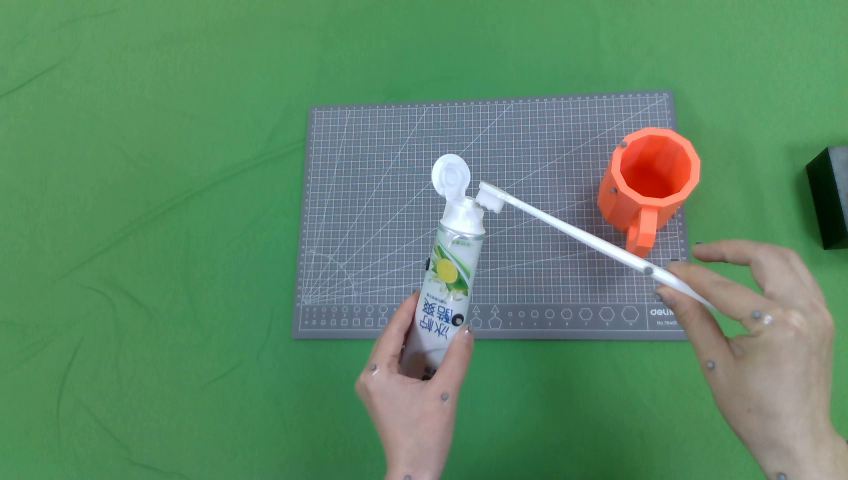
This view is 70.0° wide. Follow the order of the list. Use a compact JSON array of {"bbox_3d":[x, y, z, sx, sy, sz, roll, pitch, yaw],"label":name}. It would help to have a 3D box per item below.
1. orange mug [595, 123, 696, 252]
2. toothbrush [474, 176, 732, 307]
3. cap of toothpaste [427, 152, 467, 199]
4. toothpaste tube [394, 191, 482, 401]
[{"bbox_3d":[0.231,-0.049,0.647,0.083,0.101,0.125,7,71,9],"label":"orange mug"},{"bbox_3d":[0.111,0.000,0.400,0.180,0.014,0.017,28,102,21],"label":"toothbrush"},{"bbox_3d":[0.019,-0.048,0.456,0.037,0.011,0.037,-1,92,-33],"label":"cap of toothpaste"},{"bbox_3d":[0.012,0.042,0.465,0.054,0.034,0.165,22,109,31],"label":"toothpaste tube"}]
